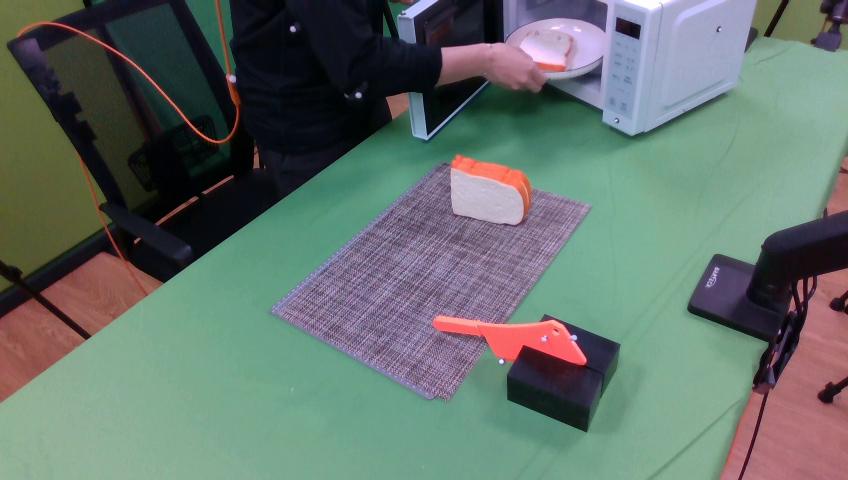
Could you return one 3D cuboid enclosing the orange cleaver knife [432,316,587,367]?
[{"bbox_3d":[0.101,0.127,0.761,0.210,0.077,0.012,-1,34,40],"label":"orange cleaver knife"}]

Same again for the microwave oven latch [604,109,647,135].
[{"bbox_3d":[0.378,-0.225,1.139,0.030,0.029,0.078,-26,43,-20],"label":"microwave oven latch"}]

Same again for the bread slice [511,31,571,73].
[{"bbox_3d":[0.242,-0.384,1.230,0.106,0.018,0.134,10,50,16],"label":"bread slice"}]

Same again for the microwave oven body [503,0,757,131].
[{"bbox_3d":[0.396,-0.448,1.248,0.327,0.261,0.437,-27,44,-21],"label":"microwave oven body"}]

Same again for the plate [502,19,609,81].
[{"bbox_3d":[0.263,-0.377,1.219,0.207,0.039,0.206,-5,47,5],"label":"plate"}]

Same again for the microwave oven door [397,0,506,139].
[{"bbox_3d":[0.071,-0.398,1.228,0.039,0.245,0.356,18,47,27],"label":"microwave oven door"}]
